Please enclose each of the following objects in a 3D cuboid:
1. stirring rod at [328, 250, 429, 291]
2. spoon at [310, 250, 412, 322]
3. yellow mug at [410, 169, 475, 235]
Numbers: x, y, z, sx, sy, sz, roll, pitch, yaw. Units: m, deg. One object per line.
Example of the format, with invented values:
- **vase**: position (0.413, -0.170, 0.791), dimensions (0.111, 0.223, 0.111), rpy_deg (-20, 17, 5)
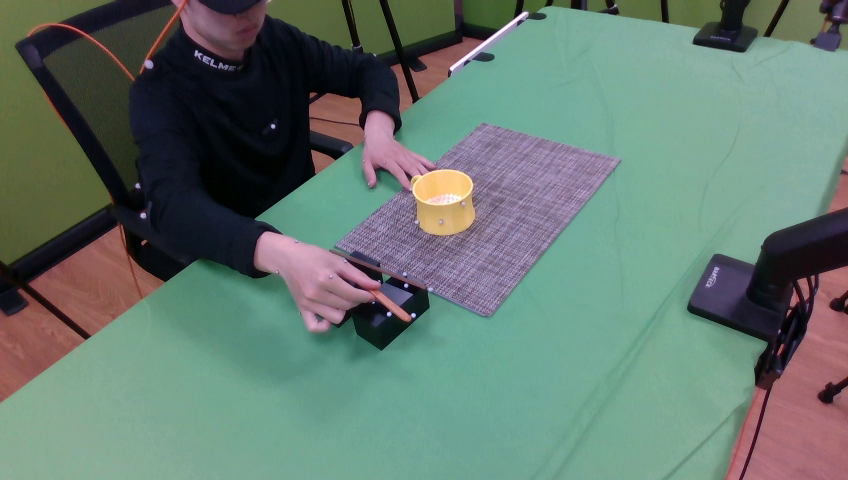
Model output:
- **stirring rod**: position (-0.068, 0.042, 0.859), dimensions (0.175, 0.006, 0.014), rpy_deg (19, 10, 28)
- **spoon**: position (-0.089, 0.062, 0.830), dimensions (0.192, 0.021, 0.042), rpy_deg (28, 25, 34)
- **yellow mug**: position (0.022, -0.069, 1.007), dimensions (0.100, 0.064, 0.129), rpy_deg (-36, 47, -30)
